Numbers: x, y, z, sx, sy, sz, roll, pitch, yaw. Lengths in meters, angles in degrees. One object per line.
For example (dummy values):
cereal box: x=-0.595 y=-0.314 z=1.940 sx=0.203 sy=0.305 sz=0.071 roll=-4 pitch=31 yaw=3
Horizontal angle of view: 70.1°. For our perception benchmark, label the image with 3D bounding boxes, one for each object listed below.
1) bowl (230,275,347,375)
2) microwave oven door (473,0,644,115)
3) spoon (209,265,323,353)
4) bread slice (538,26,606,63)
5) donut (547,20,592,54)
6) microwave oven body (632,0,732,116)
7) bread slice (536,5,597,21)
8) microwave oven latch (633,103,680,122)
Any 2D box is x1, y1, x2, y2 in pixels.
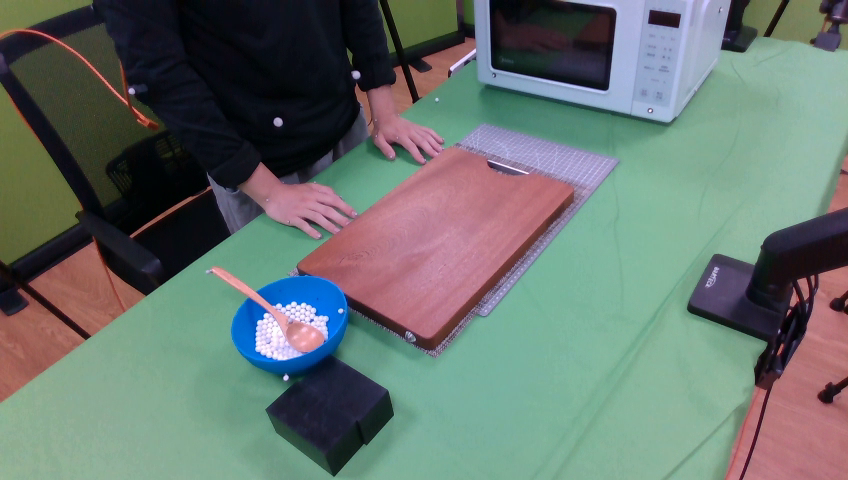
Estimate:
bowl: x=-0.171 y=0.125 z=0.802 sx=0.151 sy=0.077 sz=0.150 roll=-4 pitch=40 yaw=4
microwave oven door: x=0.257 y=-0.396 z=1.199 sx=0.353 sy=0.245 sz=0.039 roll=21 pitch=48 yaw=29
spoon: x=-0.213 y=0.087 z=0.806 sx=0.193 sy=0.021 sz=0.042 roll=37 pitch=56 yaw=11
bread slice: x=0.333 y=-0.436 z=1.338 sx=0.132 sy=0.019 sz=0.104 roll=-39 pitch=43 yaw=-22
donut: x=0.312 y=-0.437 z=1.299 sx=0.099 sy=0.048 sz=0.098 roll=-20 pitch=35 yaw=16
microwave oven body: x=0.377 y=-0.462 z=1.267 sx=0.438 sy=0.261 sz=0.327 roll=21 pitch=48 yaw=30
bread slice: x=0.306 y=-0.482 z=1.278 sx=0.106 sy=0.018 sz=0.134 roll=11 pitch=30 yaw=24
microwave oven latch: x=0.443 y=-0.249 z=1.157 sx=0.078 sy=0.029 sz=0.030 roll=20 pitch=48 yaw=29
